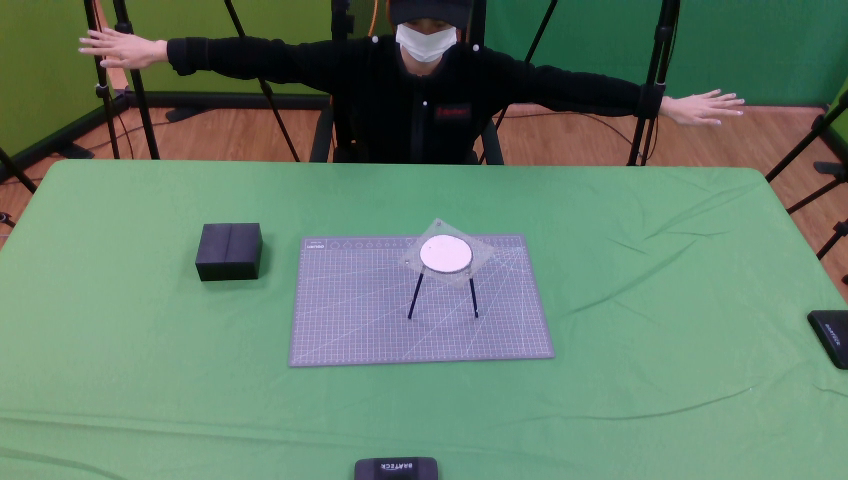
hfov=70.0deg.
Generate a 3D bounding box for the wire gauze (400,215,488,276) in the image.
[{"bbox_3d":[0.035,0.004,1.000,0.125,0.011,0.121,7,49,13],"label":"wire gauze"}]

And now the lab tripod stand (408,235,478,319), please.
[{"bbox_3d":[0.032,0.065,1.057,0.148,0.132,0.147,1,45,-1],"label":"lab tripod stand"}]
